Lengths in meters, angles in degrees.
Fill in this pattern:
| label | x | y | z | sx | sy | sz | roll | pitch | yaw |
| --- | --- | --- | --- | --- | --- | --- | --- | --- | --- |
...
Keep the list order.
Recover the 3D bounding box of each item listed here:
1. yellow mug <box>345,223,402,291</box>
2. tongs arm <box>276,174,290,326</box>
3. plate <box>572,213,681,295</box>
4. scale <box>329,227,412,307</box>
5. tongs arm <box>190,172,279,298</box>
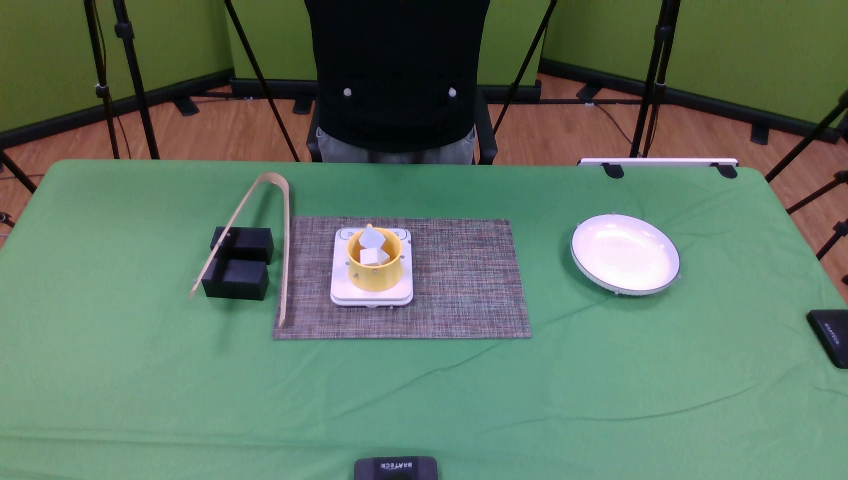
| label | x | y | z | sx | sy | sz | roll | pitch | yaw |
| --- | --- | --- | --- | --- | --- | --- | --- | --- | --- |
| yellow mug | -0.092 | 0.022 | 1.093 | 0.100 | 0.064 | 0.130 | -8 | 46 | -10 |
| tongs arm | -0.272 | 0.006 | 1.160 | 0.028 | 0.028 | 0.385 | 12 | 41 | -22 |
| plate | 0.392 | 0.030 | 1.189 | 0.208 | 0.039 | 0.206 | 2 | 46 | -2 |
| scale | -0.099 | 0.042 | 1.139 | 0.149 | 0.032 | 0.199 | 1 | 46 | -4 |
| tongs arm | -0.344 | -0.023 | 1.133 | 0.051 | 0.026 | 0.382 | 23 | 36 | -14 |
